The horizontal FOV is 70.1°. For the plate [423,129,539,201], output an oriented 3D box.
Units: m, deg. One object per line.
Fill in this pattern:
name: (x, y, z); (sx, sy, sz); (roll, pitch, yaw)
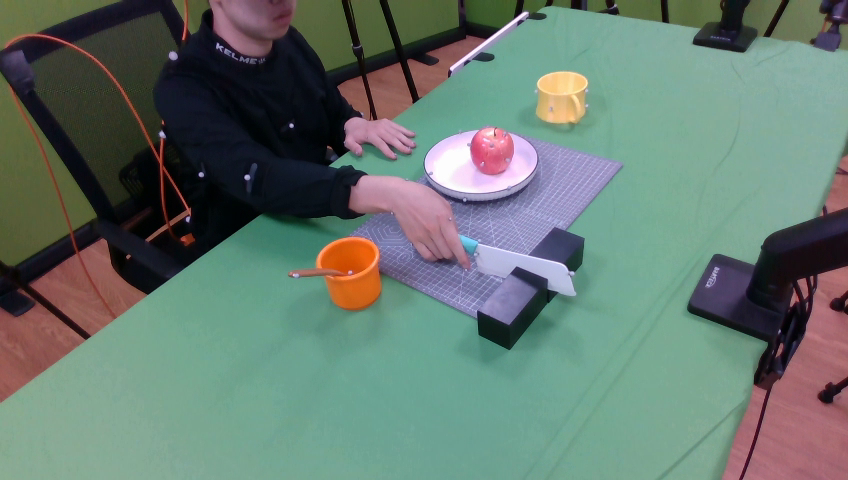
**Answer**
plate: (0.103, -0.132, 1.092); (0.209, 0.038, 0.208); (-4, 40, 4)

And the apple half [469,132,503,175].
apple half: (0.102, -0.146, 1.067); (0.033, 0.081, 0.080); (-28, 44, -29)

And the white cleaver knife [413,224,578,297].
white cleaver knife: (0.092, 0.029, 0.879); (0.284, 0.066, 0.021); (17, 46, 40)

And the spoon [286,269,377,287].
spoon: (-0.125, 0.049, 0.831); (0.041, 0.195, 0.021); (22, 92, 28)

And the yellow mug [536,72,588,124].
yellow mug: (0.284, -0.281, 1.222); (0.100, 0.064, 0.130); (-16, 42, -10)

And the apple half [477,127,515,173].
apple half: (0.132, -0.164, 1.085); (0.053, 0.075, 0.080); (-28, 41, -28)
